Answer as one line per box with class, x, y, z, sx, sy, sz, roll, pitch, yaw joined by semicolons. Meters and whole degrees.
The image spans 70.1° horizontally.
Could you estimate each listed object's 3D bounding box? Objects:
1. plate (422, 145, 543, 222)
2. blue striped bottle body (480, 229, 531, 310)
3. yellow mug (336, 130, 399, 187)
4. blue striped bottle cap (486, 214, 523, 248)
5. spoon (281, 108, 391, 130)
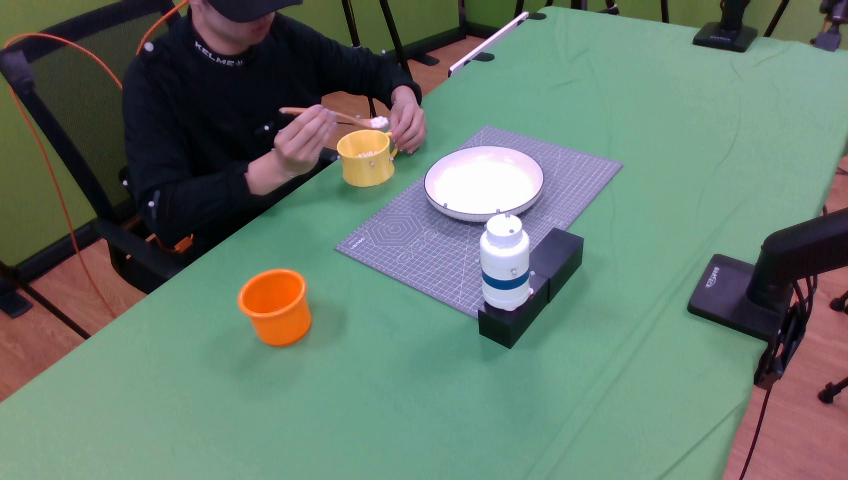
plate;0.101;-0.094;1.048;0.207;0.039;0.206;-4;41;4
blue striped bottle body;0.104;0.027;0.769;0.063;0.121;0.063;-4;41;4
yellow mug;-0.099;-0.161;1.138;0.131;0.064;0.099;-33;47;-28
blue striped bottle cap;0.098;-0.011;0.735;0.044;0.021;0.044;-3;38;3
spoon;-0.143;-0.205;1.005;0.195;0.021;0.041;4;28;-34
